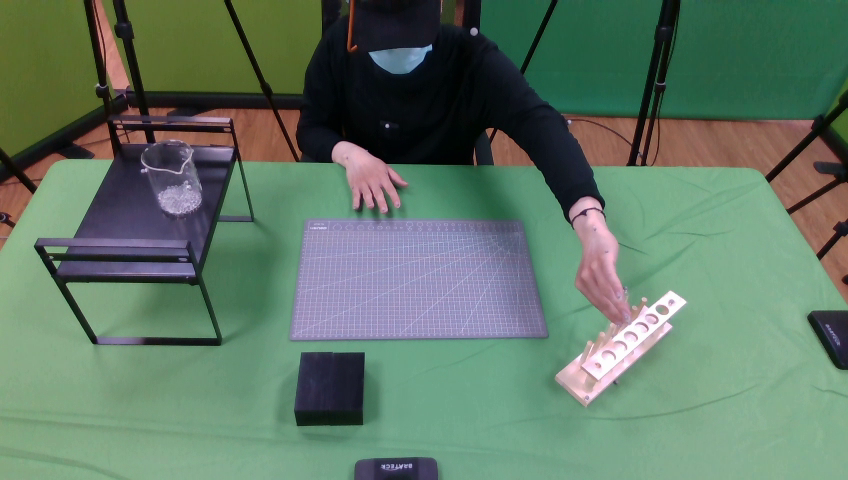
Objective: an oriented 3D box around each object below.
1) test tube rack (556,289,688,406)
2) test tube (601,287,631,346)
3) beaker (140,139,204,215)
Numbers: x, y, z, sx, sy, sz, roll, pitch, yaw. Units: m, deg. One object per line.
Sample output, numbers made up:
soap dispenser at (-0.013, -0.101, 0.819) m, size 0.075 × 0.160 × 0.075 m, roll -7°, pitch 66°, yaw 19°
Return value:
test tube rack at (0.332, 0.166, 1.014) m, size 0.242 × 0.085 × 0.066 m, roll -30°, pitch 55°, yaw -28°
test tube at (0.309, 0.126, 0.978) m, size 0.017 × 0.151 × 0.017 m, roll 0°, pitch 47°, yaw 0°
beaker at (-0.391, -0.095, 0.954) m, size 0.074 × 0.101 × 0.083 m, roll -30°, pitch 56°, yaw -27°
